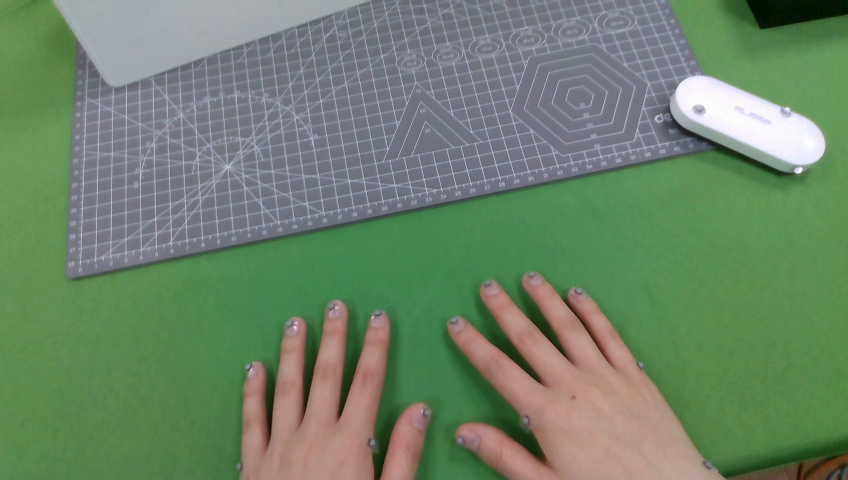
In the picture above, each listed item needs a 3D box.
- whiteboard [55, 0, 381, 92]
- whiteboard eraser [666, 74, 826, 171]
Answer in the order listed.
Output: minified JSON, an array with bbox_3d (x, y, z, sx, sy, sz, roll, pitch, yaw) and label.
[{"bbox_3d":[-0.178,-0.294,0.392,0.217,0.308,0.142,-21,47,-5],"label":"whiteboard"},{"bbox_3d":[0.214,-0.078,0.403,0.101,0.019,0.041,27,69,11],"label":"whiteboard eraser"}]
